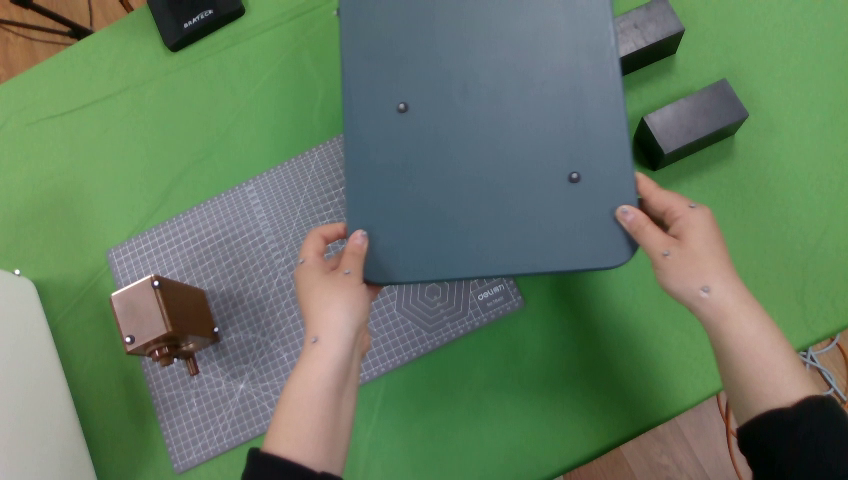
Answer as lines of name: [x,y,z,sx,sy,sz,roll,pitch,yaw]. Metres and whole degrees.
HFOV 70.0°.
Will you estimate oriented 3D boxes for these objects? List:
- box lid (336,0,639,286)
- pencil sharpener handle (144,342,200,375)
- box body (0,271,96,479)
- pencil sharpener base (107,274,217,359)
box lid: [0.049,-0.148,0.570,0.263,0.015,0.369,-5,79,6]
pencil sharpener handle: [-0.272,0.132,0.662,0.036,0.068,0.030,-28,73,11]
box body: [-0.548,0.226,0.672,0.254,0.161,0.361,-29,74,1]
pencil sharpener base: [-0.293,0.092,0.688,0.061,0.107,0.076,-26,74,2]
